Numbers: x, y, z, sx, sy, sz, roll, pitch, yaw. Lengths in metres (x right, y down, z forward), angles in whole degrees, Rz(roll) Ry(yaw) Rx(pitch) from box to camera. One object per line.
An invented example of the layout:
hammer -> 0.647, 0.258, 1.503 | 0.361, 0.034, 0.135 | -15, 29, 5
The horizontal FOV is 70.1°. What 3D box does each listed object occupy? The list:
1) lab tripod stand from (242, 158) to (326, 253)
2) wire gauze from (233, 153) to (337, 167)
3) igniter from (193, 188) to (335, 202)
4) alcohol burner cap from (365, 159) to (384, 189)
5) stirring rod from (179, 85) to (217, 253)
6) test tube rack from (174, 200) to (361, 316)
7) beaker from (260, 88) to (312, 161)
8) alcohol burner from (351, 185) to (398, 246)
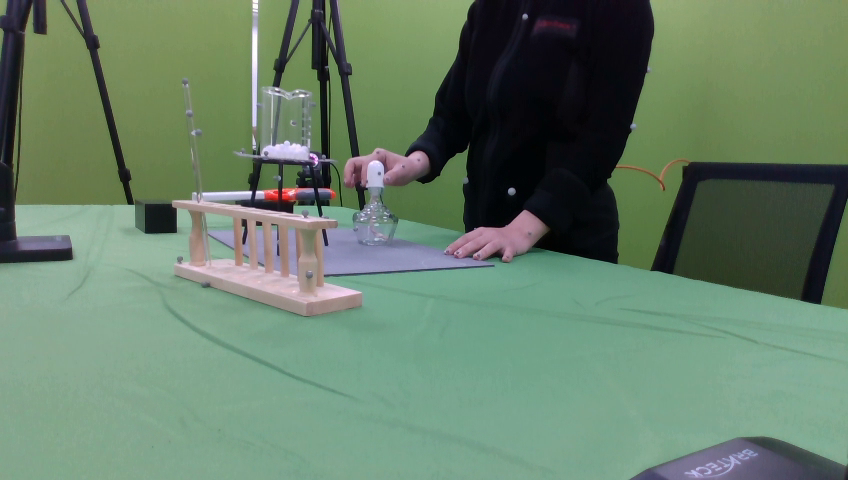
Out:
lab tripod stand -> -0.207, -0.054, 0.895 | 0.148, 0.131, 0.148 | 3, 5, 0
wire gauze -> -0.205, -0.119, 0.887 | 0.122, 0.011, 0.124 | 2, 4, -32
igniter -> -0.312, -0.089, 1.209 | 0.278, 0.025, 0.057 | -5, 13, -31
alcohol burner cap -> -0.081, -0.109, 0.990 | 0.034, 0.048, 0.034 | 0, -1, 0
stirring rod -> -0.236, -0.073, 0.634 | 0.006, 0.176, 0.014 | 0, 10, 42
test tube rack -> -0.169, 0.010, 0.622 | 0.241, 0.085, 0.067 | 9, 9, 41
beaker -> -0.200, -0.166, 0.876 | 0.074, 0.100, 0.083 | 1, 7, -18
alcohol burner -> -0.080, -0.051, 0.995 | 0.078, 0.119, 0.078 | 1, 6, 0
